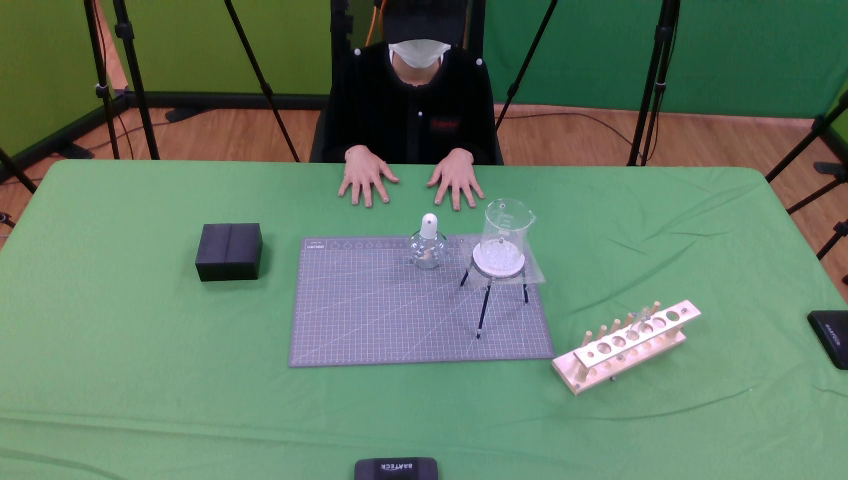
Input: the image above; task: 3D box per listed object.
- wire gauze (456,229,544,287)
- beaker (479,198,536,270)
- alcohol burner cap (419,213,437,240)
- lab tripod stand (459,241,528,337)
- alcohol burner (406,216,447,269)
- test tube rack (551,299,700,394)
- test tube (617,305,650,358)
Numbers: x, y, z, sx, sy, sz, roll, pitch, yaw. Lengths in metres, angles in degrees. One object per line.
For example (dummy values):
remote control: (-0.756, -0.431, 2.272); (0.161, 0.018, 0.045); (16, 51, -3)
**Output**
wire gauze: (0.125, 0.030, 1.008); (0.125, 0.011, 0.120); (-3, 48, -11)
beaker: (0.131, -0.007, 0.975); (0.084, 0.101, 0.073); (3, 46, -3)
alcohol burner cap: (0.009, -0.027, 1.109); (0.034, 0.048, 0.033); (3, 44, -3)
lab tripod stand: (0.122, 0.075, 1.054); (0.148, 0.132, 0.147); (3, 44, -3)
alcohol burner: (0.006, -0.002, 1.134); (0.078, 0.120, 0.077); (2, 48, -2)
test tube rack: (0.339, 0.166, 1.021); (0.242, 0.085, 0.066); (-19, 50, -21)
test tube: (0.333, 0.149, 0.967); (0.017, 0.151, 0.017); (0, 52, 1)
